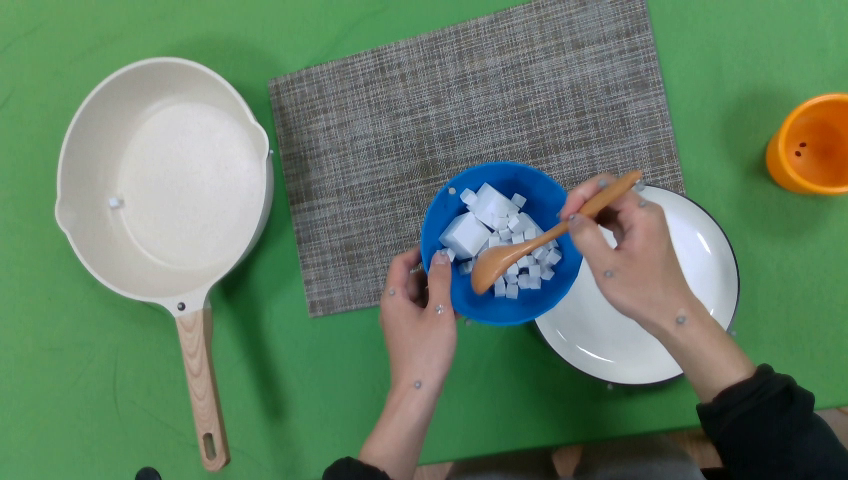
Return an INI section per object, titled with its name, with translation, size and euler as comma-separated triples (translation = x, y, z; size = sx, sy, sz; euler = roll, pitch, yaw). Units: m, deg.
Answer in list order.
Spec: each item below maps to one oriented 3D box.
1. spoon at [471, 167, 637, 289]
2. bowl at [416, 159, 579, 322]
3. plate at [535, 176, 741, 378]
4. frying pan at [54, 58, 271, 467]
[spoon]
translation = 0.097, -0.008, 0.495
size = 0.194, 0.022, 0.041
euler = -35, 41, 43
[bowl]
translation = 0.067, -0.002, 0.589
size = 0.151, 0.076, 0.151
euler = 0, 96, -1
[plate]
translation = 0.214, 0.038, 0.634
size = 0.207, 0.039, 0.207
euler = 0, 92, 14
[frying pan]
translation = -0.292, 0.026, 0.733
size = 0.306, 0.103, 0.485
euler = -16, 77, 15
